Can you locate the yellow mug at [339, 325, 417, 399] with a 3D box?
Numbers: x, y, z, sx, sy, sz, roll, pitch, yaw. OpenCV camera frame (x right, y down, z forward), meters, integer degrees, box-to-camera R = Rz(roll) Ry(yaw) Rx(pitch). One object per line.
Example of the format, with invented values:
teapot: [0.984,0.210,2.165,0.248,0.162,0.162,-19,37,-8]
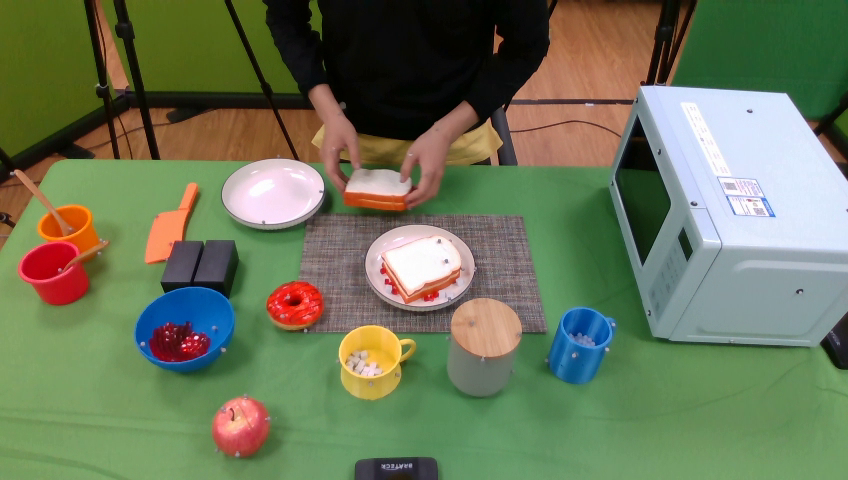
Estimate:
yellow mug: [-0.072,0.191,0.978,0.131,0.064,0.099,-17,50,-20]

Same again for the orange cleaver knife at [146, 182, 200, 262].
orange cleaver knife: [-0.494,-0.039,1.198,0.077,0.012,0.210,-3,48,2]

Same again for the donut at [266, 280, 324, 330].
donut: [-0.223,0.112,1.051,0.099,0.048,0.098,2,46,-2]

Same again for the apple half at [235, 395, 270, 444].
apple half: [-0.245,0.260,0.893,0.033,0.082,0.081,-29,55,-22]

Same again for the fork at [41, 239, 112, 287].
fork: [-0.591,0.040,1.028,0.207,0.019,0.028,-27,36,29]

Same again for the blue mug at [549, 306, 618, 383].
blue mug: [0.269,0.167,0.997,0.116,0.106,0.082,-19,50,-21]

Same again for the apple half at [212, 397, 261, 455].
apple half: [-0.276,0.277,0.877,0.053,0.075,0.080,-29,58,-21]

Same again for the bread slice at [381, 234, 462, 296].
bread slice: [0.001,0.038,1.107,0.134,0.018,0.106,-25,56,-23]

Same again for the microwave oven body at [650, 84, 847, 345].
microwave oven body: [0.569,-0.054,1.116,0.326,0.261,0.439,2,46,-1]

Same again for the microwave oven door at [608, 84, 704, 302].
microwave oven door: [0.424,-0.096,1.138,0.039,0.245,0.353,3,46,-1]

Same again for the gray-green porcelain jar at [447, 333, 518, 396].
gray-green porcelain jar: [0.091,0.178,0.960,0.106,0.127,0.105,2,46,-2]

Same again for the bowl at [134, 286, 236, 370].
bowl: [-0.377,0.156,0.981,0.151,0.077,0.150,2,46,-2]

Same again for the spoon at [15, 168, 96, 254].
spoon: [-0.675,-0.052,1.109,0.041,0.194,0.021,-43,18,-34]

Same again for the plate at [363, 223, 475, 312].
plate: [-0.009,0.054,1.126,0.208,0.039,0.206,2,46,-2]

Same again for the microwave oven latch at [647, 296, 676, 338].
microwave oven latch: [0.413,0.133,1.060,0.030,0.029,0.078,4,46,1]

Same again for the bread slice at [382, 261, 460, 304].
bread slice: [0.000,0.055,1.129,0.131,0.019,0.104,-22,51,-21]

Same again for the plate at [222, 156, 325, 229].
plate: [-0.308,-0.095,1.251,0.209,0.038,0.208,3,46,-3]

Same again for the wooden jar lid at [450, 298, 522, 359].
wooden jar lid: [0.093,0.135,0.914,0.108,0.021,0.107,3,48,-3]
